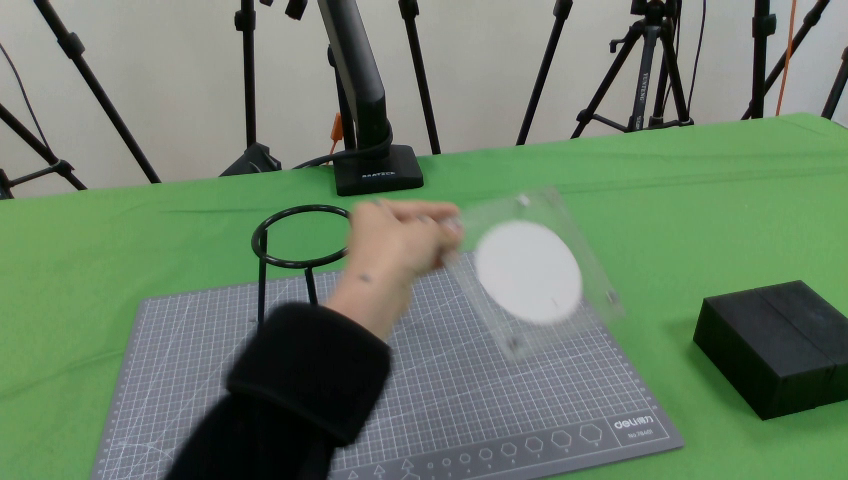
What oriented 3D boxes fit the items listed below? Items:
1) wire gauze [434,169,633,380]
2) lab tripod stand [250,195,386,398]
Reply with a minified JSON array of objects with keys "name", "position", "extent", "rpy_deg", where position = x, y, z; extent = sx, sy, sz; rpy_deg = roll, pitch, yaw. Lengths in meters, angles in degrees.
[{"name":"wire gauze","position":[0.081,0.016,0.426],"extent":[0.125,0.011,0.121],"rpy_deg":[49,51,1]},{"name":"lab tripod stand","position":[-0.092,0.041,0.528],"extent":[0.148,0.132,0.147],"rpy_deg":[0,35,0]}]
